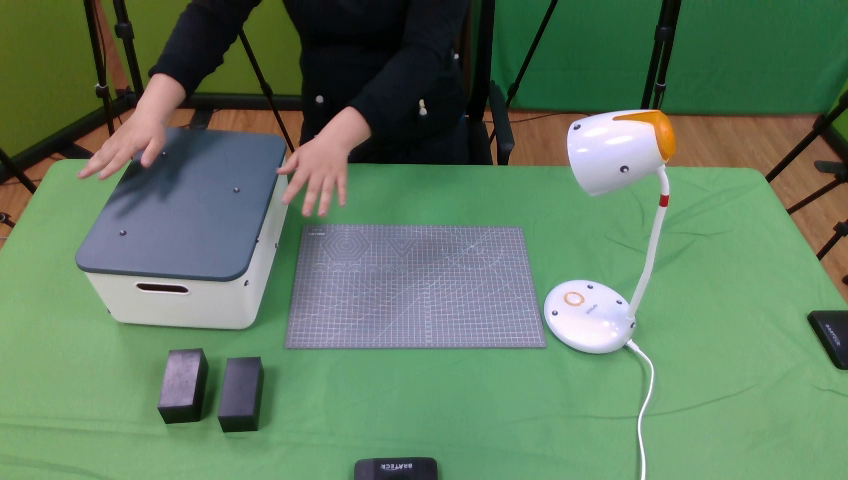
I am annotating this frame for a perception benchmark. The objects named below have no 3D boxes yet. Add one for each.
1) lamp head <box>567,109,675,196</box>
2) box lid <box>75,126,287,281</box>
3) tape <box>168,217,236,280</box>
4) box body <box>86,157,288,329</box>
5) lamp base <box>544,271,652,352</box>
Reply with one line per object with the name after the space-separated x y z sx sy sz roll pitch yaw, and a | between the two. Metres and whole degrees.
0.272 -0.123 0.818 0.122 0.113 0.112 -9 35 37 | lamp head
-0.398 -0.075 1.039 0.263 0.015 0.369 4 46 -1 | box lid
-0.410 0.015 1.122 0.117 0.053 0.116 2 46 -2 | tape
-0.401 -0.025 1.094 0.254 0.161 0.362 3 46 -1 | box body
0.310 0.086 1.029 0.178 0.181 0.160 32 52 21 | lamp base
